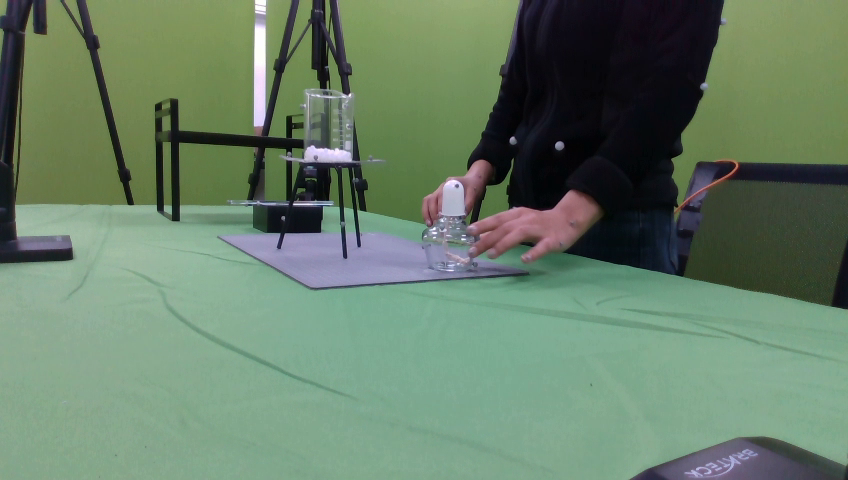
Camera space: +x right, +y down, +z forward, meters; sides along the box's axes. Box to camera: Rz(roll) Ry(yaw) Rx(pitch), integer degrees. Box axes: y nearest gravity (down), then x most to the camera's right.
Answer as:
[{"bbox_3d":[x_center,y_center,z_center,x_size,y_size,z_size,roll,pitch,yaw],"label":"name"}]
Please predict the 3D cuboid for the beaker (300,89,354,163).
[{"bbox_3d":[-0.137,-0.161,0.869,0.083,0.100,0.074,9,10,42],"label":"beaker"}]

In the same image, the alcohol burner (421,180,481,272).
[{"bbox_3d":[0.036,-0.018,0.786,0.078,0.119,0.078,3,5,0],"label":"alcohol burner"}]

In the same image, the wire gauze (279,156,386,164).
[{"bbox_3d":[-0.134,-0.113,0.875,0.122,0.011,0.124,-1,6,-30],"label":"wire gauze"}]

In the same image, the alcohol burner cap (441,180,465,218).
[{"bbox_3d":[0.038,-0.054,0.781,0.034,0.048,0.034,0,13,0],"label":"alcohol burner cap"}]

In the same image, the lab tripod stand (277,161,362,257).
[{"bbox_3d":[-0.143,-0.049,0.884,0.148,0.131,0.148,1,9,0],"label":"lab tripod stand"}]

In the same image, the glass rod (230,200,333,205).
[{"bbox_3d":[-0.265,-0.070,1.144,0.201,0.008,0.008,-1,8,-31],"label":"glass rod"}]
